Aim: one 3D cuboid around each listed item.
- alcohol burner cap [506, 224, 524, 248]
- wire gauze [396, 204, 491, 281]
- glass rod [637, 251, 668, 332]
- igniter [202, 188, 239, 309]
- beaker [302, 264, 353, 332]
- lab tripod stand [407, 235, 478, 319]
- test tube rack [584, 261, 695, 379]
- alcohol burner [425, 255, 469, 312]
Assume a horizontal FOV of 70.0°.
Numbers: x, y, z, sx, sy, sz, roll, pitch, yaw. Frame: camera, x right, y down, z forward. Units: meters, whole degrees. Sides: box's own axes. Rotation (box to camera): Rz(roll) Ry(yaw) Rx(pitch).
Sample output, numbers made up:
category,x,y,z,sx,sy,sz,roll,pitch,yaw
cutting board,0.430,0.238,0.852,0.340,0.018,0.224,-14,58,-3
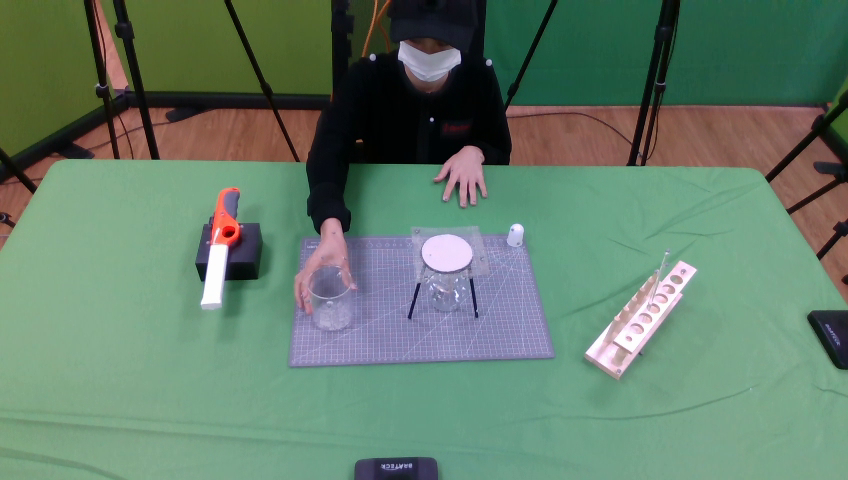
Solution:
category,x,y,z,sx,sy,sz,roll,pitch,yaw
alcohol burner cap,0.183,-0.010,1.206,0.034,0.048,0.033,1,46,-1
wire gauze,0.032,0.004,0.999,0.125,0.011,0.120,-22,54,-14
glass rod,0.378,0.090,1.005,0.008,0.201,0.008,-1,44,1
igniter,-0.366,0.006,1.095,0.057,0.025,0.274,-2,50,-7
beaker,-0.162,0.102,1.029,0.084,0.101,0.073,3,46,-1
lab tripod stand,0.032,0.065,1.057,0.148,0.132,0.147,1,45,-1
test tube rack,0.380,0.127,1.062,0.066,0.085,0.242,34,53,26
alcohol burner,0.041,0.072,1.065,0.078,0.120,0.077,1,46,-1
